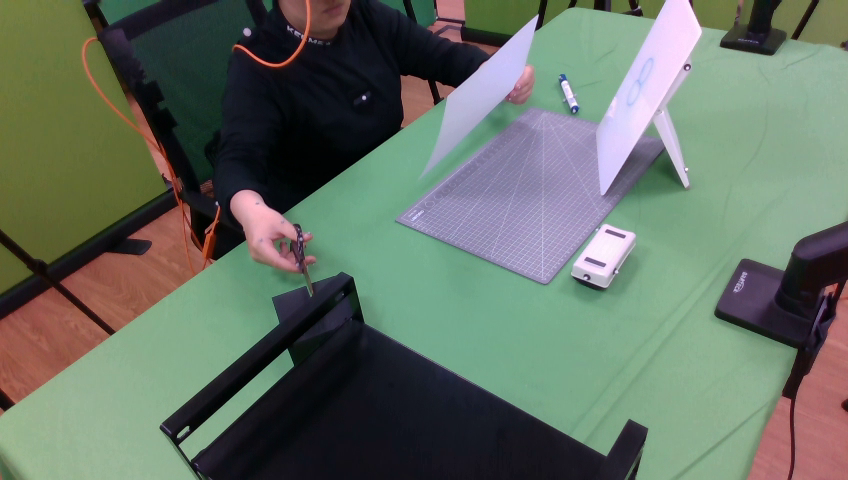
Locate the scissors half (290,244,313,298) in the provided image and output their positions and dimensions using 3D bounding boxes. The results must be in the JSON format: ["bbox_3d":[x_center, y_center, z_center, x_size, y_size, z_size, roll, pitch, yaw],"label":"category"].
[{"bbox_3d":[-0.176,0.045,0.878,0.013,0.040,0.174,-8,22,-18],"label":"scissors half"}]

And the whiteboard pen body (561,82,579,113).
[{"bbox_3d":[0.310,-0.312,1.297,0.017,0.017,0.140,-6,41,2],"label":"whiteboard pen body"}]

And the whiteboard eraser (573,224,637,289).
[{"bbox_3d":[0.267,0.025,0.891,0.055,0.042,0.113,19,47,31],"label":"whiteboard eraser"}]

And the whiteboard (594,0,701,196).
[{"bbox_3d":[0.420,-0.227,1.010,0.144,0.305,0.216,18,42,-2],"label":"whiteboard"}]

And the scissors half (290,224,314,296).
[{"bbox_3d":[-0.174,0.028,0.869,0.013,0.040,0.174,-3,35,-21],"label":"scissors half"}]

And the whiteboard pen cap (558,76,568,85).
[{"bbox_3d":[0.309,-0.350,1.341,0.018,0.018,0.033,-6,41,2],"label":"whiteboard pen cap"}]
